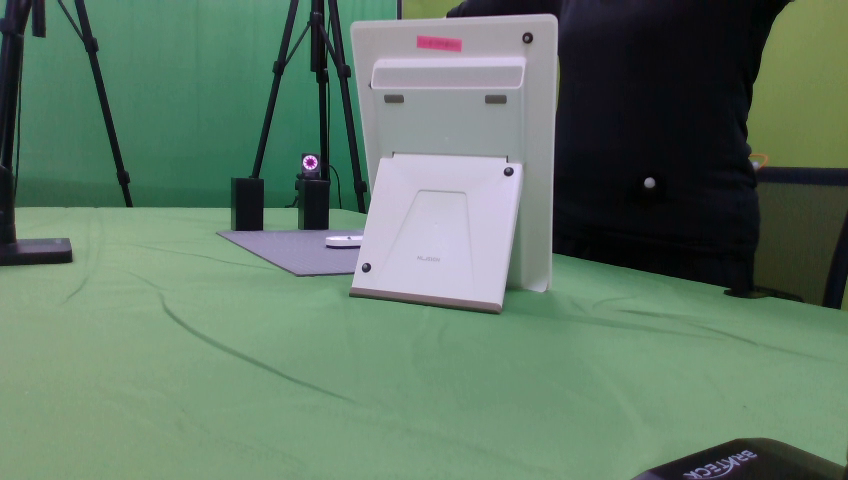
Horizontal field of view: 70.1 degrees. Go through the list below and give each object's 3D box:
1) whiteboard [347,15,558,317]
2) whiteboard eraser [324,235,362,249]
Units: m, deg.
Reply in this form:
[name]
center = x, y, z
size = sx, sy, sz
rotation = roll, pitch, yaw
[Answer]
[whiteboard]
center = 0.012, -0.056, 0.609
size = 0.216, 0.305, 0.144
rotation = 5, 27, 19
[whiteboard eraser]
center = -0.113, 0.002, 0.974
size = 0.102, 0.019, 0.041
rotation = -1, 9, -33
